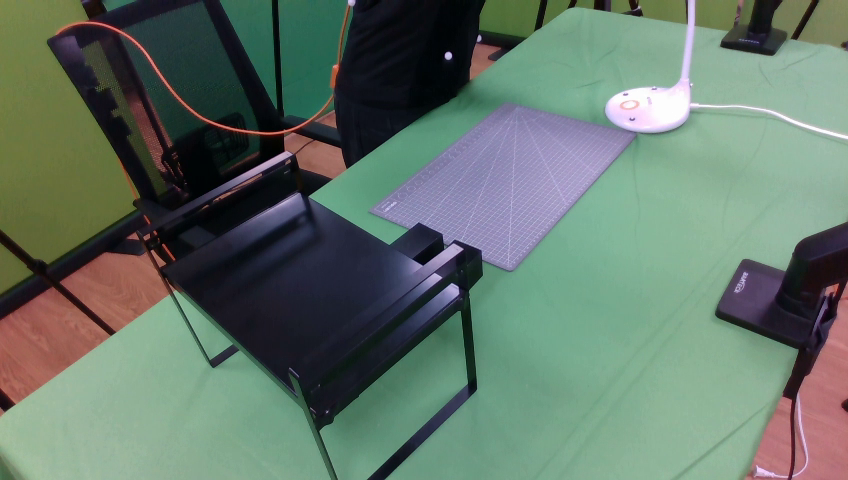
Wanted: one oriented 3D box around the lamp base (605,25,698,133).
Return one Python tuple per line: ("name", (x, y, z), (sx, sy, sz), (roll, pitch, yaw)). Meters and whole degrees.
("lamp base", (0.449, -0.321, 1.161), (0.179, 0.181, 0.159), (-6, 41, -2))
